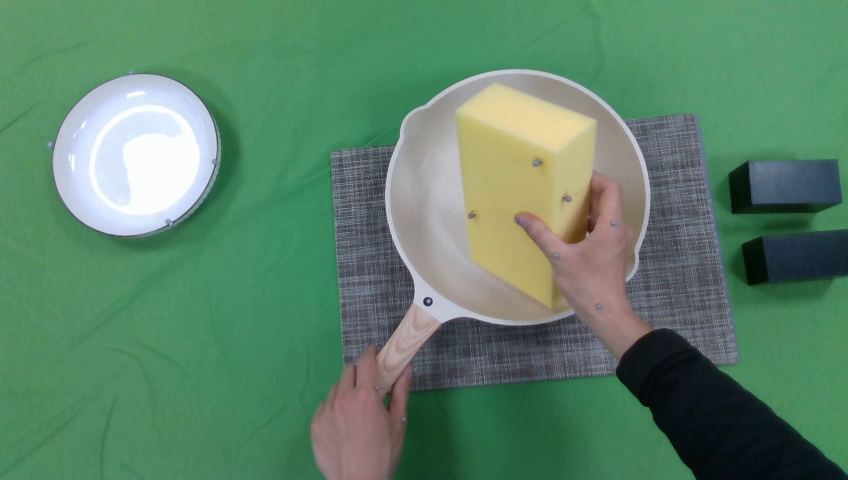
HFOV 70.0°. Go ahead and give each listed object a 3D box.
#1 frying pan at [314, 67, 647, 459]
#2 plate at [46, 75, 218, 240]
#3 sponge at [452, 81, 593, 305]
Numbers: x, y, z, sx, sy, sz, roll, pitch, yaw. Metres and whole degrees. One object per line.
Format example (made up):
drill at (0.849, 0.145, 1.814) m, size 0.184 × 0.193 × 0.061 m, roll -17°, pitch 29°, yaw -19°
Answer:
frying pan at (0.037, 0.029, 0.672) m, size 0.306 × 0.103 × 0.487 m, roll 36°, pitch 76°, yaw 9°
plate at (-0.354, -0.099, 0.749) m, size 0.207 × 0.039 × 0.207 m, roll 0°, pitch 80°, yaw 2°
sponge at (0.100, -0.043, 0.620) m, size 0.117 × 0.209 × 0.061 m, roll 29°, pitch 56°, yaw 33°
